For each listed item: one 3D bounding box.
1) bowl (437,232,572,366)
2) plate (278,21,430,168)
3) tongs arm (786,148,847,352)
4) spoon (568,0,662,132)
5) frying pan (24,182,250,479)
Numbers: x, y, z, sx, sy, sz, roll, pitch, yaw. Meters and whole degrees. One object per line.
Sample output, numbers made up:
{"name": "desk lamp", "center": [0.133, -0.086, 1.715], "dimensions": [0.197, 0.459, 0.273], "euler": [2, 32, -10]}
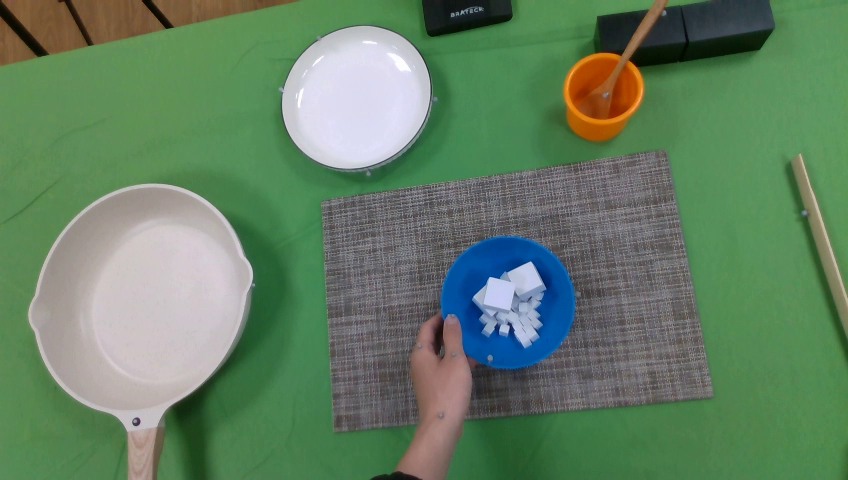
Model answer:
{"name": "bowl", "center": [0.095, 0.072, 0.709], "dimensions": [0.151, 0.077, 0.150], "euler": [-2, 78, 9]}
{"name": "plate", "center": [-0.092, -0.193, 0.820], "dimensions": [0.207, 0.039, 0.206], "euler": [-2, 78, 9]}
{"name": "tongs arm", "center": [0.477, 0.077, 0.677], "dimensions": [0.028, 0.028, 0.385], "euler": [-13, 77, 4]}
{"name": "spoon", "center": [0.229, -0.211, 0.715], "dimensions": [0.041, 0.195, 0.021], "euler": [43, 43, 18]}
{"name": "frying pan", "center": [-0.347, 0.168, 0.750], "dimensions": [0.306, 0.103, 0.484], "euler": [-10, 68, 8]}
